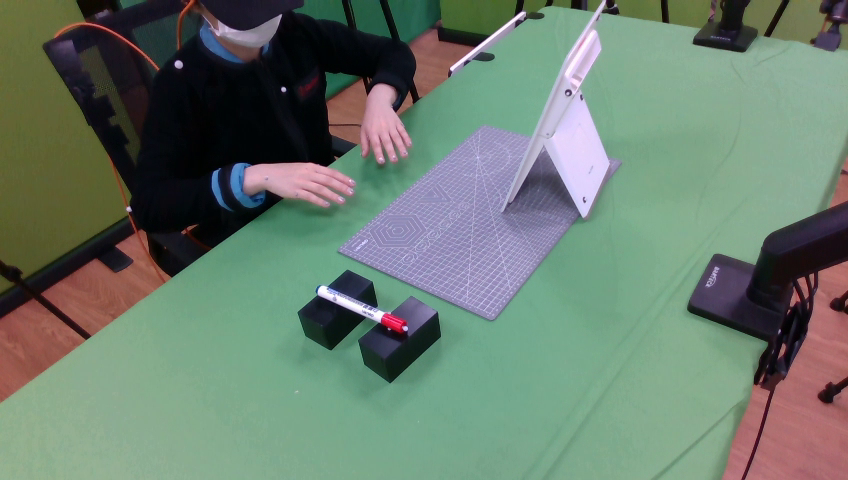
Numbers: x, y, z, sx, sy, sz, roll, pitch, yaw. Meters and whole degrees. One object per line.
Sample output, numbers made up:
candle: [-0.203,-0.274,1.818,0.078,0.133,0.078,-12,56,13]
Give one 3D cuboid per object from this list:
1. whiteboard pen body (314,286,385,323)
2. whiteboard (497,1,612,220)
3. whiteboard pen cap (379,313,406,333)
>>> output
whiteboard pen body: [-0.089,0.089,0.802,0.139,0.017,0.017,19,47,27]
whiteboard: [0.260,-0.178,0.963,0.143,0.306,0.217,28,49,9]
whiteboard pen cap: [-0.041,0.106,0.776,0.032,0.017,0.017,18,46,24]
